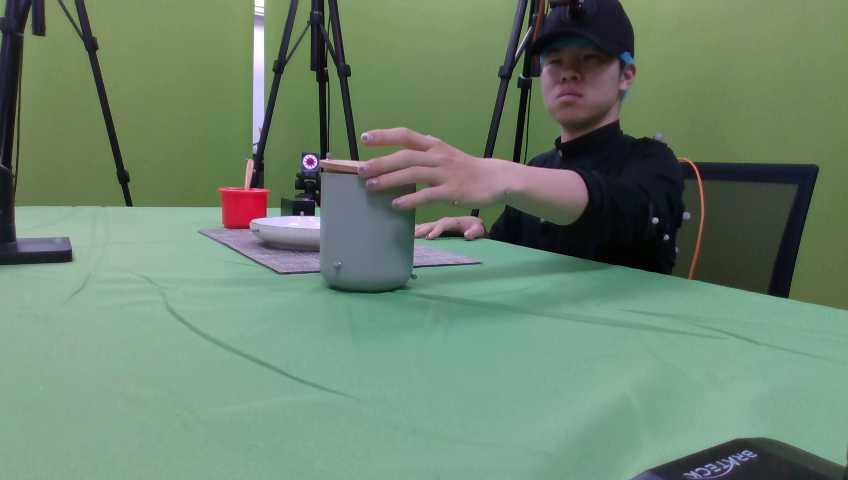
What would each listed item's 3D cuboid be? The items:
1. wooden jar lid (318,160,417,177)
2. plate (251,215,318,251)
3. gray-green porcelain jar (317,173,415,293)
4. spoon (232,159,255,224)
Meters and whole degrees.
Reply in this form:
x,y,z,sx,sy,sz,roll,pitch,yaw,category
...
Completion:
x,y,z,sx,sy,sz,roll,pitch,yaw,category
-0.063,-0.073,0.664,0.108,0.020,0.108,5,9,0,wooden jar lid
-0.170,-0.012,0.971,0.208,0.039,0.207,2,7,0,plate
-0.065,-0.009,0.671,0.106,0.126,0.106,2,7,0,gray-green porcelain jar
-0.356,-0.101,1.218,0.042,0.021,0.193,2,51,-9,spoon
